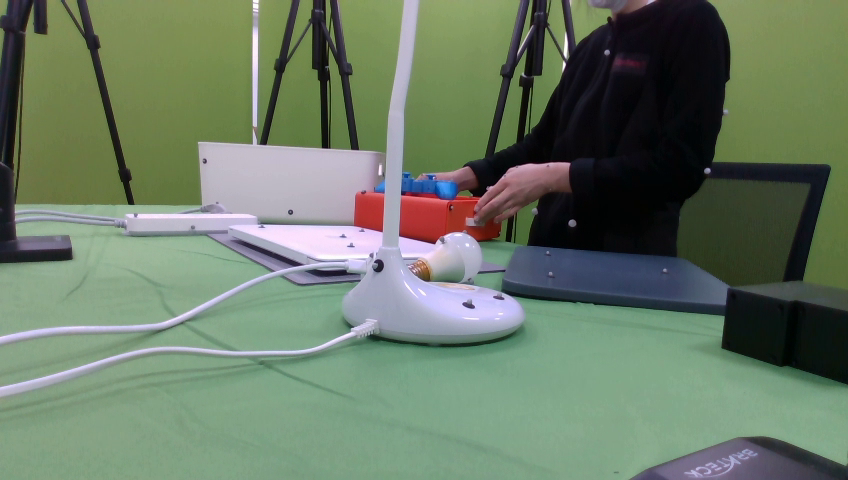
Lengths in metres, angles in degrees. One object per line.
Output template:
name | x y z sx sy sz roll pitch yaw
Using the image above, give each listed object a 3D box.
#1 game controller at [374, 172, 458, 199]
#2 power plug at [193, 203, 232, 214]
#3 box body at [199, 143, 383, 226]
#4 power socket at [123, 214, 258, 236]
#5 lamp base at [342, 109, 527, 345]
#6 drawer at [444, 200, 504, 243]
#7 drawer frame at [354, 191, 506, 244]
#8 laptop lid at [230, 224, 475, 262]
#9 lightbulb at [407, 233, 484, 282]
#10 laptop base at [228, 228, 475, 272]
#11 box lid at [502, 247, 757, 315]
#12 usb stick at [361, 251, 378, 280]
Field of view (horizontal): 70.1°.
game controller | -0.009 -0.100 1.150 0.155 0.051 0.097 6 2 12
power plug | -0.394 -0.042 1.139 0.072 0.052 0.035 -14 2 31
box body | -0.276 -0.124 1.335 0.364 0.160 0.254 3 7 1
power socket | -0.398 -0.028 1.049 0.228 0.032 0.072 -3 8 -34
lamp base | 0.006 -0.015 0.505 0.160 0.180 0.180 6 11 29
drawer | 0.015 -0.047 1.143 0.211 0.073 0.195 8 9 35
drawer frame | 0.013 -0.047 1.142 0.212 0.082 0.203 8 8 35
laptop lid | -0.120 0.000 0.889 0.243 0.013 0.355 1 7 -33
lightbulb | 0.020 0.028 0.694 0.108 0.059 0.059 -20 18 -31
laptop base | -0.122 0.011 0.889 0.237 0.023 0.352 2 6 -35
box lid | 0.244 0.044 0.793 0.263 0.015 0.372 4 7 11
usb stick | -0.051 0.033 0.656 0.027 0.021 0.059 4 -27 -21
